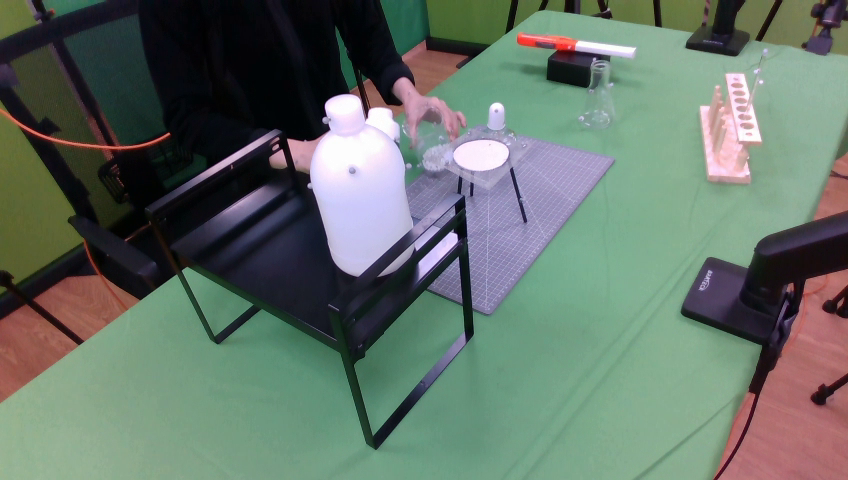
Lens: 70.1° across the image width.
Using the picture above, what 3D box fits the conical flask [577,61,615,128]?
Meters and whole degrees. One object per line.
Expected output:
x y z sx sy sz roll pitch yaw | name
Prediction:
0.343 -0.288 1.188 0.075 0.122 0.075 -4 41 4 | conical flask

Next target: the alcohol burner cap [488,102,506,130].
0.133 -0.227 1.092 0.034 0.048 0.033 -1 47 2 | alcohol burner cap

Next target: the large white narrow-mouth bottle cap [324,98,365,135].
-0.076 -0.120 0.585 0.038 0.024 0.037 -3 42 3 | large white narrow-mouth bottle cap

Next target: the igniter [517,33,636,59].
0.336 -0.441 1.369 0.275 0.025 0.057 16 41 23 | igniter

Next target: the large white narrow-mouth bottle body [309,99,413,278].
-0.068 -0.057 0.644 0.102 0.195 0.101 -3 42 4 | large white narrow-mouth bottle body

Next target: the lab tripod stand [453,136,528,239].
0.094 -0.086 0.974 0.148 0.132 0.147 -4 43 4 | lab tripod stand

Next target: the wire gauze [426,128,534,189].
0.086 -0.131 0.924 0.124 0.011 0.122 26 52 33 | wire gauze

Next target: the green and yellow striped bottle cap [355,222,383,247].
-0.092 -0.009 1.001 0.045 0.020 0.045 -3 39 3 | green and yellow striped bottle cap

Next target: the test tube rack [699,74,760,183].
0.547 -0.208 1.095 0.066 0.085 0.242 6 42 16 | test tube rack

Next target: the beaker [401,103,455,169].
0.012 -0.182 1.073 0.073 0.101 0.084 14 64 27 | beaker

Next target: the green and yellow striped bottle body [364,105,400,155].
-0.069 -0.153 0.969 0.063 0.063 0.119 0 83 7 | green and yellow striped bottle body

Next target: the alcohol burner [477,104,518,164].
0.135 -0.200 1.117 0.078 0.119 0.077 -4 43 4 | alcohol burner

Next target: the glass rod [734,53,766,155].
0.540 -0.220 1.007 0.008 0.201 0.008 -5 46 6 | glass rod
